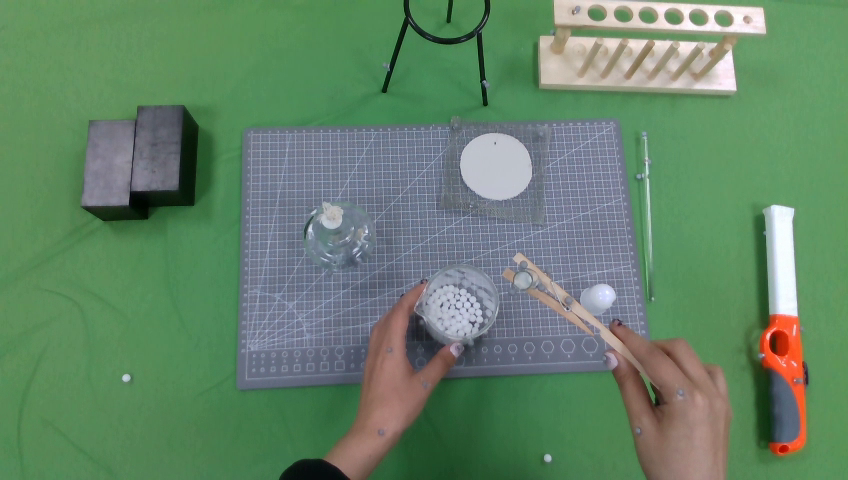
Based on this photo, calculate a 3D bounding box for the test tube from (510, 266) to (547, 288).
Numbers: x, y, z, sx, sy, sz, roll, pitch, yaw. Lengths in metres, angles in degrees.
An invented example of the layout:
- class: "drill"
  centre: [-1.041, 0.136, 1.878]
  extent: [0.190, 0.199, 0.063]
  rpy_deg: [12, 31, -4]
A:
- class: "test tube"
  centre: [0.092, 0.031, 0.520]
  extent: [0.017, 0.151, 0.017]
  rpy_deg: [0, 88, 16]

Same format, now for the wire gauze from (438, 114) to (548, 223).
- class: "wire gauze"
  centre: [0.083, -0.087, 0.714]
  extent: [0.125, 0.011, 0.121]
  rpy_deg: [9, 77, -1]

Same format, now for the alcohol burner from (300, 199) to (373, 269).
- class: "alcohol burner"
  centre: [-0.093, -0.011, 0.631]
  extent: [0.078, 0.119, 0.077]
  rpy_deg: [0, 74, 0]

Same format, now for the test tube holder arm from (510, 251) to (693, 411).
- class: "test tube holder arm"
  centre: [0.138, 0.069, 0.481]
  extent: [0.177, 0.015, 0.013]
  rpy_deg: [41, 102, 14]

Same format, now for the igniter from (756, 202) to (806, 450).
- class: "igniter"
  centre: [0.396, 0.092, 0.676]
  extent: [0.057, 0.025, 0.275]
  rpy_deg: [8, 75, -11]

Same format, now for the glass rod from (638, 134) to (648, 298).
- class: "glass rod"
  centre: [0.257, -0.031, 0.710]
  extent: [0.008, 0.008, 0.199]
  rpy_deg: [3, 78, -2]

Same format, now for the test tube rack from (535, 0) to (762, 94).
- class: "test tube rack"
  centre: [0.261, -0.229, 0.721]
  extent: [0.242, 0.085, 0.066]
  rpy_deg: [1, 75, -2]

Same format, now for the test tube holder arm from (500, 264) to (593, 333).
- class: "test tube holder arm"
  centre: [0.101, 0.047, 0.494]
  extent: [0.087, 0.015, 0.010]
  rpy_deg: [33, 99, 16]

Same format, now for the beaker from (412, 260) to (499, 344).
- class: "beaker"
  centre: [0.029, 0.069, 0.624]
  extent: [0.084, 0.100, 0.073]
  rpy_deg: [-9, 75, -4]

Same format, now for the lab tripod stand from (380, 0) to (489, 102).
- class: "lab tripod stand"
  centre: [0.016, -0.225, 0.683]
  extent: [0.148, 0.132, 0.147]
  rpy_deg: [1, 77, -2]

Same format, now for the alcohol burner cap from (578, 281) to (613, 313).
- class: "alcohol burner cap"
  centre: [0.190, 0.060, 0.664]
  extent: [0.034, 0.048, 0.033]
  rpy_deg: [1, 75, -2]
